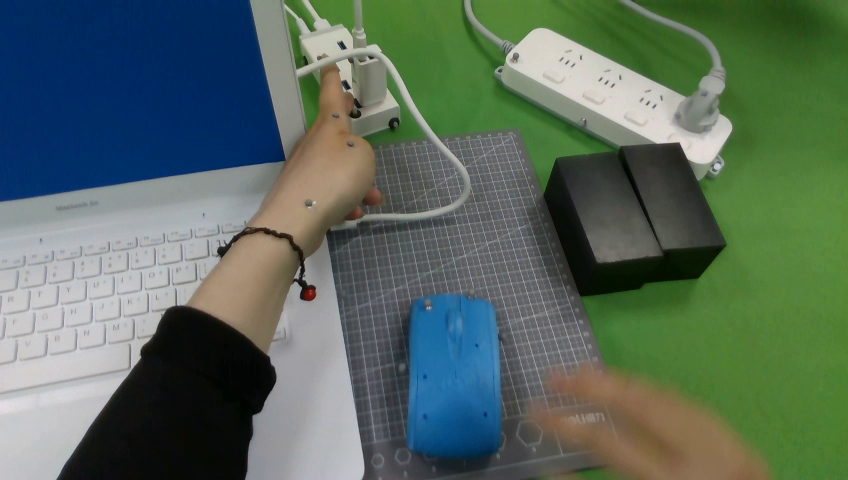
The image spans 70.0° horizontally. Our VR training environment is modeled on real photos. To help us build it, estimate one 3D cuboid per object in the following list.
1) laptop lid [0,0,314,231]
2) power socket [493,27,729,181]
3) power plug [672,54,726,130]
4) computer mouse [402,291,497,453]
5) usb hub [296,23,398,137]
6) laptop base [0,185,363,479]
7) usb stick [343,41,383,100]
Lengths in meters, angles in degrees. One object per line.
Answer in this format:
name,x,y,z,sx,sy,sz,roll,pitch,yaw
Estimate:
laptop lid,-0.262,-0.099,0.387,0.357,0.244,0.013,-11,45,-8
power socket,0.172,-0.130,0.563,0.225,0.033,0.072,33,61,17
power plug,0.250,-0.123,0.536,0.072,0.053,0.035,-38,65,-22
computer mouse,0.018,0.084,0.410,0.063,0.041,0.116,2,53,0
usb hub,-0.074,-0.152,0.566,0.049,0.025,0.124,-23,61,-17
laptop base,-0.233,0.084,0.410,0.355,0.023,0.233,-10,62,-9
usb stick,-0.051,-0.141,0.523,0.027,0.059,0.021,-32,72,-14
